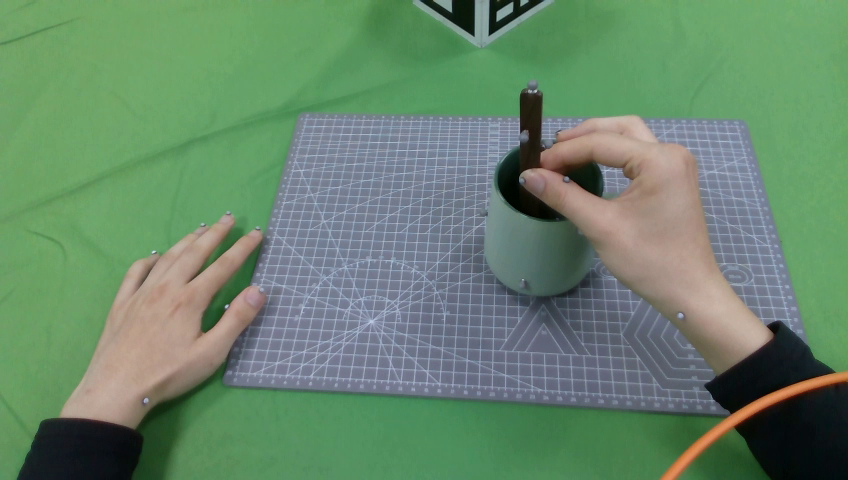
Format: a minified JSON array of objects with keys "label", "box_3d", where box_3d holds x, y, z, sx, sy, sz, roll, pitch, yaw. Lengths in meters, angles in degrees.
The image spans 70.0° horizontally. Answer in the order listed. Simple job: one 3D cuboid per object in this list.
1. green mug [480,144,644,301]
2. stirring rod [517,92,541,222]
[{"label":"green mug","box_3d":[0.108,-0.011,0.478,0.125,0.106,0.091,4,56,6]},{"label":"stirring rod","box_3d":[0.072,-0.034,0.421,0.014,0.178,0.006,12,58,17]}]
